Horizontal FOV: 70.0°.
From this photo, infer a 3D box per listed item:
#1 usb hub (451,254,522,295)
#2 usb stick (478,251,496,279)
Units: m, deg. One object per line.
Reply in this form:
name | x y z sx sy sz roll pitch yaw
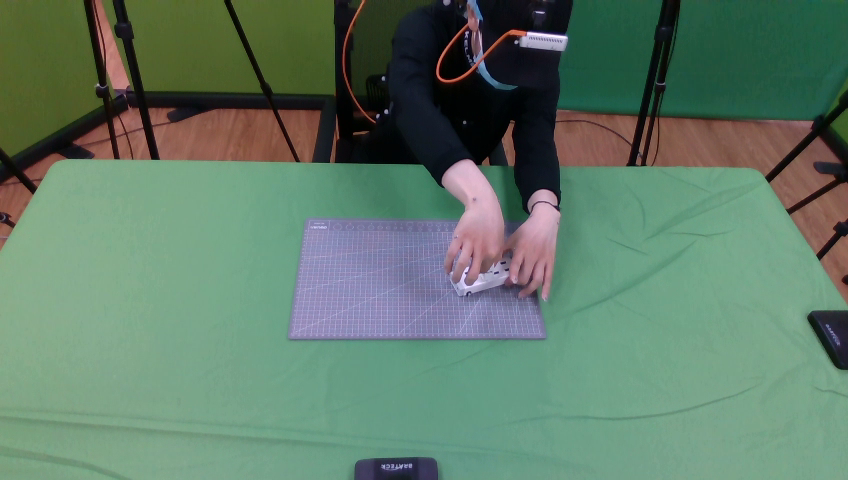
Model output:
usb hub | 0.116 0.065 1.133 0.125 0.025 0.049 -15 49 -16
usb stick | 0.113 0.051 1.096 0.021 0.059 0.027 -18 50 -21
